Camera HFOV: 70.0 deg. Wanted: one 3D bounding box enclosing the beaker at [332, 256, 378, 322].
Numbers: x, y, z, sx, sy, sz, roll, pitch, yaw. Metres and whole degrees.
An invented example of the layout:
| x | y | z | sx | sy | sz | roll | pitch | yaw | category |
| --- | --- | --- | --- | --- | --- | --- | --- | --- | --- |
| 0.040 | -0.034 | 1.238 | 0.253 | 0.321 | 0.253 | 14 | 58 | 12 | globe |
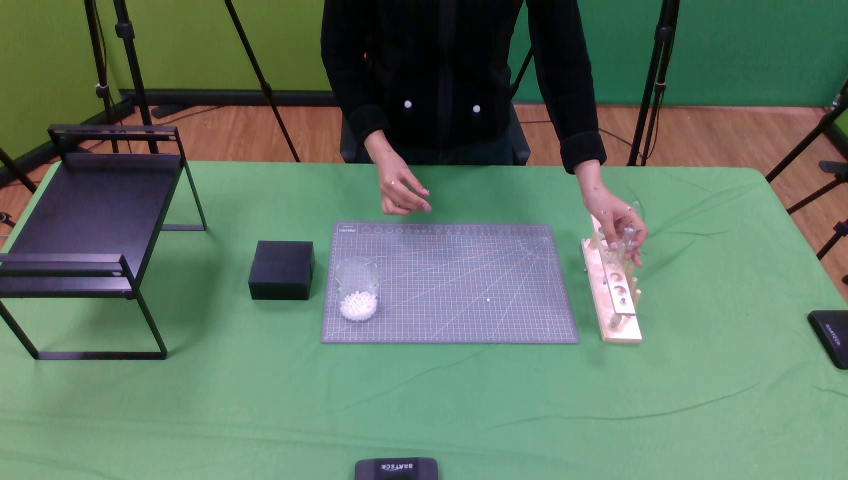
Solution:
| x | y | z | sx | sy | sz | roll | pitch | yaw | category |
| --- | --- | --- | --- | --- | --- | --- | --- | --- | --- |
| -0.114 | 0.089 | 1.047 | 0.083 | 0.101 | 0.074 | 30 | 51 | 21 | beaker |

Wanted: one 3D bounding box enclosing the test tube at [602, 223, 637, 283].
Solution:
| x | y | z | sx | sy | sz | roll | pitch | yaw | category |
| --- | --- | --- | --- | --- | --- | --- | --- | --- | --- |
| 0.341 | 0.026 | 1.061 | 0.017 | 0.151 | 0.017 | 4 | 48 | -4 | test tube |

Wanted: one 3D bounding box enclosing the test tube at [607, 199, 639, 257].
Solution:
| x | y | z | sx | sy | sz | roll | pitch | yaw | category |
| --- | --- | --- | --- | --- | --- | --- | --- | --- | --- |
| 0.374 | -0.020 | 1.140 | 0.017 | 0.151 | 0.017 | 3 | 46 | -3 | test tube |

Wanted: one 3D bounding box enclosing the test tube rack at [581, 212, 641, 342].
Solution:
| x | y | z | sx | sy | sz | roll | pitch | yaw | category |
| --- | --- | --- | --- | --- | --- | --- | --- | --- | --- |
| 0.351 | 0.063 | 1.121 | 0.067 | 0.085 | 0.241 | 3 | 46 | -2 | test tube rack |
